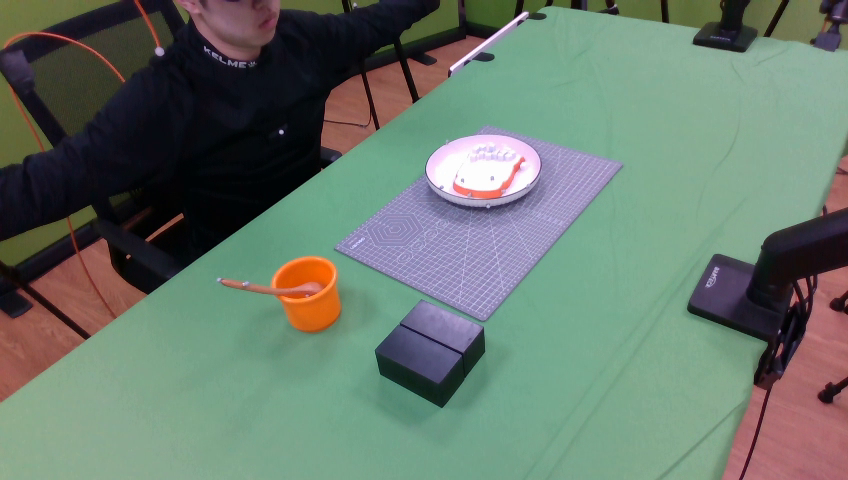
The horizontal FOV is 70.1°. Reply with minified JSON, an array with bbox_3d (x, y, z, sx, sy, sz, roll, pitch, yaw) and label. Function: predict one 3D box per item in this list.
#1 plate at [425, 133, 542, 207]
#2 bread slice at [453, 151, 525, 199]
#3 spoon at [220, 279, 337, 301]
[{"bbox_3d":[0.106,-0.121,1.079,0.209,0.038,0.208,-4,41,4],"label":"plate"},{"bbox_3d":[0.112,-0.118,1.079,0.104,0.019,0.131,11,42,21],"label":"bread slice"},{"bbox_3d":[-0.189,0.068,0.813,0.041,0.021,0.195,32,14,36],"label":"spoon"}]
